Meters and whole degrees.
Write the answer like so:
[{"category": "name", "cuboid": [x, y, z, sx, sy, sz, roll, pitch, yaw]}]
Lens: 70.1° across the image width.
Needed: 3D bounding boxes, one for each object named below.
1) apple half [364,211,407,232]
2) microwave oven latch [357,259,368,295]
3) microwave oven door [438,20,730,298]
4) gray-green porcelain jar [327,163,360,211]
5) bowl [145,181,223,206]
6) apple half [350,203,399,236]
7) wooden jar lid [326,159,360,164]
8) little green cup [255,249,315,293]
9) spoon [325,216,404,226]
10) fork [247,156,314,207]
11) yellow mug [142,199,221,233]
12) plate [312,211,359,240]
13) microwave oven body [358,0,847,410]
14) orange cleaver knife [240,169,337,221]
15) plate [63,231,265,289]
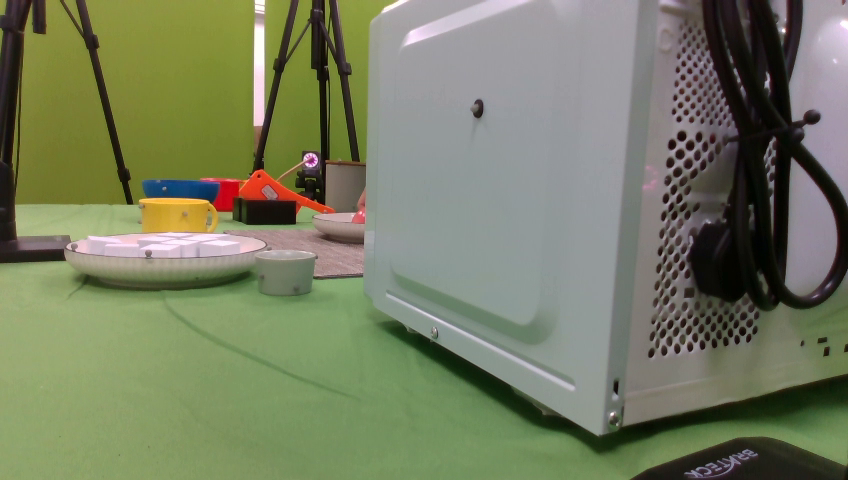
[{"category": "apple half", "cuboid": [-0.068, -0.037, 1.103, 0.081, 0.033, 0.081, -1, 10, 0]}, {"category": "microwave oven latch", "cuboid": [-0.019, 0.031, 0.529, 0.079, 0.029, 0.030, -1, 7, -26]}, {"category": "microwave oven door", "cuboid": [0.181, -0.076, 0.618, 0.358, 0.243, 0.039, -2, 8, -28]}, {"category": "gray-green porcelain jar", "cuboid": [-0.187, -0.125, 1.490, 0.106, 0.126, 0.106, 2, 8, 0]}, {"category": "bowl", "cuboid": [-0.499, -0.081, 1.261, 0.151, 0.077, 0.151, 2, 7, 0]}, {"category": "apple half", "cuboid": [-0.082, -0.036, 1.024, 0.081, 0.053, 0.074, -3, 11, -34]}, {"category": "wooden jar lid", "cuboid": [-0.185, -0.187, 1.481, 0.108, 0.020, 0.108, 4, 6, 0]}, {"category": "little green cup", "cuboid": [-0.144, 0.031, 0.627, 0.061, 0.038, 0.061, 2, 6, 0]}, {"category": "spoon", "cuboid": [-0.120, -0.043, 1.273, 0.195, 0.021, 0.041, -4, -11, -39]}, {"category": "fork", "cuboid": [-0.360, -0.147, 1.523, 0.207, 0.019, 0.028, -43, 17, -7]}, {"category": "yellow mug", "cuboid": [-0.372, -0.030, 0.948, 0.099, 0.064, 0.131, 6, 7, 30]}, {"category": "plate", "cuboid": [-0.091, -0.026, 1.063, 0.209, 0.038, 0.209, 2, 7, 0]}, {"category": "microwave oven body", "cuboid": [0.210, -0.051, 0.471, 0.444, 0.260, 0.324, -1, 7, -28]}, {"category": "orange cleaver knife", "cuboid": [-0.287, -0.082, 1.298, 0.212, 0.077, 0.012, 25, -2, -31]}, {"category": "plate", "cuboid": [-0.288, 0.021, 0.687, 0.208, 0.039, 0.207, 2, 8, 0]}]
